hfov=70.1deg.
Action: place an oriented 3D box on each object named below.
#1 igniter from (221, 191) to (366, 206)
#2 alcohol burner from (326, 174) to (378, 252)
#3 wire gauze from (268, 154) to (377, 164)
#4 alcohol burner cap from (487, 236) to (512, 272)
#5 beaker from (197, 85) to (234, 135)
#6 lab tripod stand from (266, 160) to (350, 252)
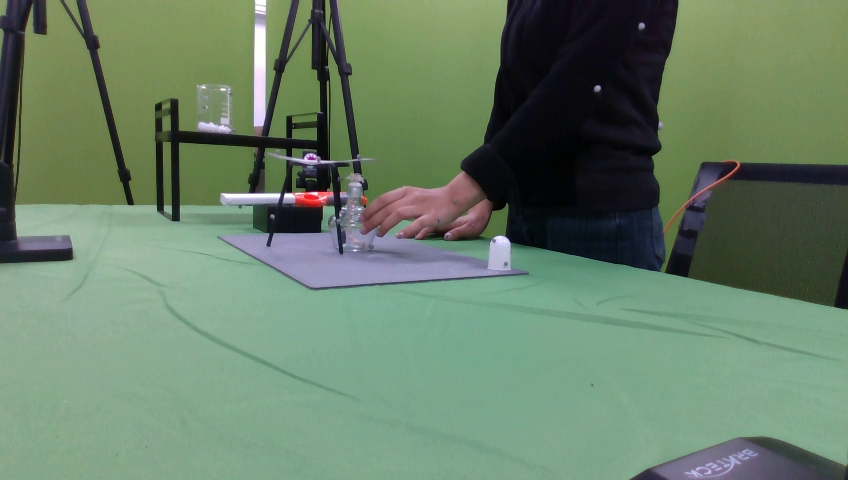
[{"bbox_3d":[-0.240,-0.079,1.150,0.278,0.025,0.057,-3,20,-32],"label":"igniter"},{"bbox_3d":[-0.108,-0.042,0.919,0.078,0.119,0.078,5,6,0],"label":"alcohol burner"},{"bbox_3d":[-0.154,-0.120,0.910,0.122,0.011,0.124,-5,11,-44],"label":"wire gauze"},{"bbox_3d":[0.101,0.019,0.802,0.034,0.048,0.034,2,7,0],"label":"alcohol burner cap"},{"bbox_3d":[-0.445,-0.275,1.283,0.074,0.100,0.084,5,8,22],"label":"beaker"},{"bbox_3d":[-0.163,-0.054,0.914,0.148,0.131,0.148,2,9,0],"label":"lab tripod stand"}]
